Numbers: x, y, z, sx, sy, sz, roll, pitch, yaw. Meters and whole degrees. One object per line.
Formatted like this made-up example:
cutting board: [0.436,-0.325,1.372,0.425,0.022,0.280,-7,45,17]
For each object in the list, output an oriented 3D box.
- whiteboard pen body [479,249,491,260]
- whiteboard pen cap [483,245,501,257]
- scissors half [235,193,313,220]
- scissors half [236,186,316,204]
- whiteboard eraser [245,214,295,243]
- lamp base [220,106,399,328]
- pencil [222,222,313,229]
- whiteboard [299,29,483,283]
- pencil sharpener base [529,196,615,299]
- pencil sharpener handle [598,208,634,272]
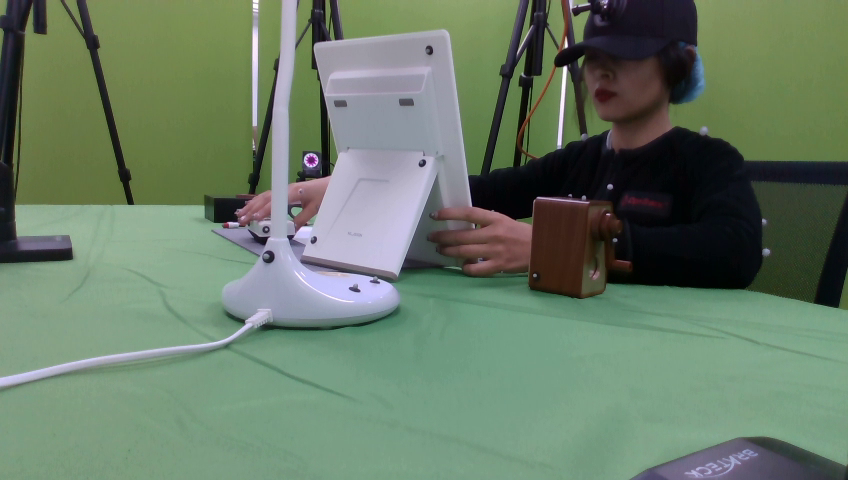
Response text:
whiteboard pen body: [0.032,0.016,0.898,0.140,0.017,0.017,5,8,27]
whiteboard pen cap: [0.104,0.017,0.936,0.018,0.018,0.033,-1,4,-21]
scissors half: [-0.324,-0.077,1.319,0.176,0.040,0.012,17,6,-31]
scissors half: [-0.320,-0.097,1.316,0.176,0.040,0.013,-3,11,-29]
whiteboard eraser: [-0.247,-0.018,0.964,0.056,0.042,0.112,-1,8,-27]
lamp base: [-0.101,-0.023,0.531,0.160,0.180,0.179,4,10,10]
pencil: [-0.302,-0.030,1.189,0.195,0.012,0.012,-2,9,-42]
whiteboard: [-0.074,-0.082,0.742,0.216,0.305,0.144,9,29,37]
pencil sharpener base: [0.168,0.007,0.678,0.076,0.107,0.062,10,10,42]
pencil sharpener handle: [0.208,0.000,0.644,0.030,0.068,0.036,10,23,42]
